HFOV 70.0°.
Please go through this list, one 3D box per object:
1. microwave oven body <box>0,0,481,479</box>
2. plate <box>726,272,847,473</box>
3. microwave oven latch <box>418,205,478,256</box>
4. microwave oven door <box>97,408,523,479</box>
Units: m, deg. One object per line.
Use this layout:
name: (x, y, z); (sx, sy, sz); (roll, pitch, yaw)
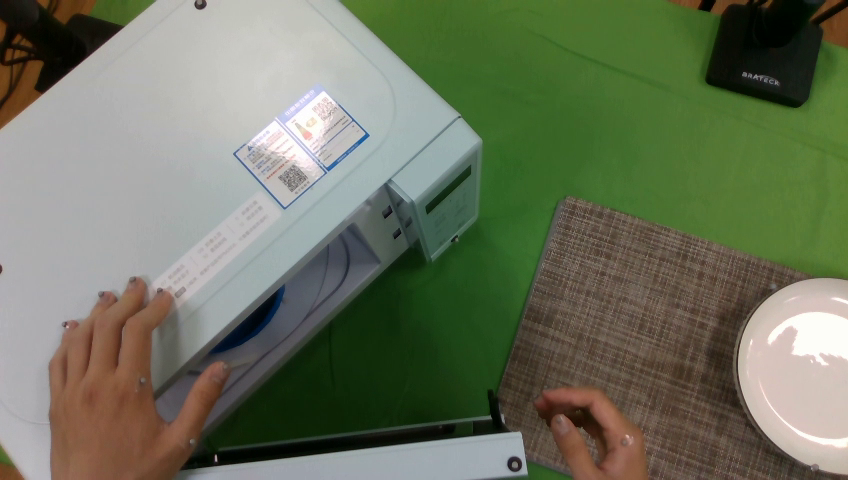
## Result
microwave oven body: (-0.210, -0.022, 0.614); (0.441, 0.261, 0.324); (-44, 78, -6)
plate: (0.428, 0.139, 0.650); (0.207, 0.039, 0.206); (-1, 77, 3)
microwave oven latch: (0.027, -0.018, 0.697); (0.079, 0.029, 0.030); (-42, 78, -5)
microwave oven door: (-0.096, 0.199, 0.550); (0.356, 0.245, 0.039); (-8, 77, 2)
